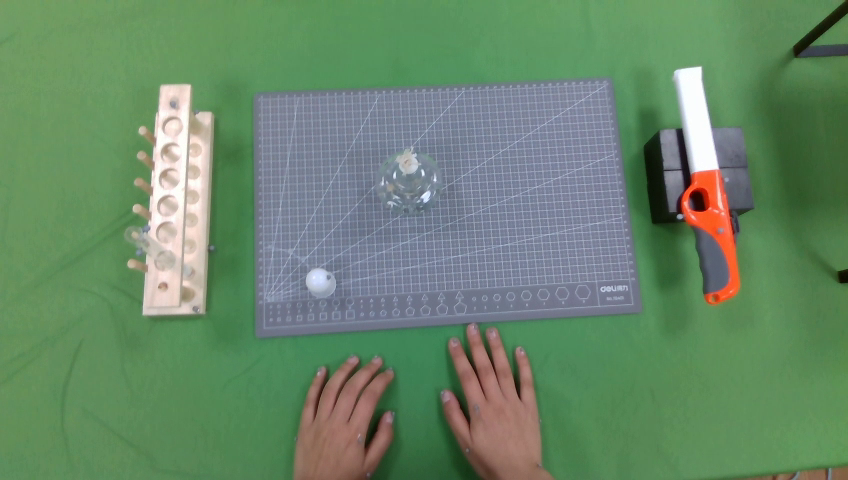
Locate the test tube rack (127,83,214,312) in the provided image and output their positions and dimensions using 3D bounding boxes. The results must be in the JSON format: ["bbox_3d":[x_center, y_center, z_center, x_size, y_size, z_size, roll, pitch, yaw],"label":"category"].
[{"bbox_3d":[-0.287,-0.045,0.679,0.067,0.085,0.241,-1,79,-2],"label":"test tube rack"}]

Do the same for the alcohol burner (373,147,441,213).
[{"bbox_3d":[-0.019,-0.072,0.677,0.078,0.119,0.077,0,79,-1],"label":"alcohol burner"}]

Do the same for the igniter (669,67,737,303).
[{"bbox_3d":[0.316,-0.066,0.689,0.057,0.025,0.275,-6,78,8],"label":"igniter"}]

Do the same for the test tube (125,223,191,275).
[{"bbox_3d":[-0.267,0.012,0.618,0.017,0.151,0.017,1,74,-3],"label":"test tube"}]

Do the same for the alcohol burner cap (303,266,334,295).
[{"bbox_3d":[-0.121,0.044,0.686,0.034,0.048,0.033,1,78,-3],"label":"alcohol burner cap"}]
